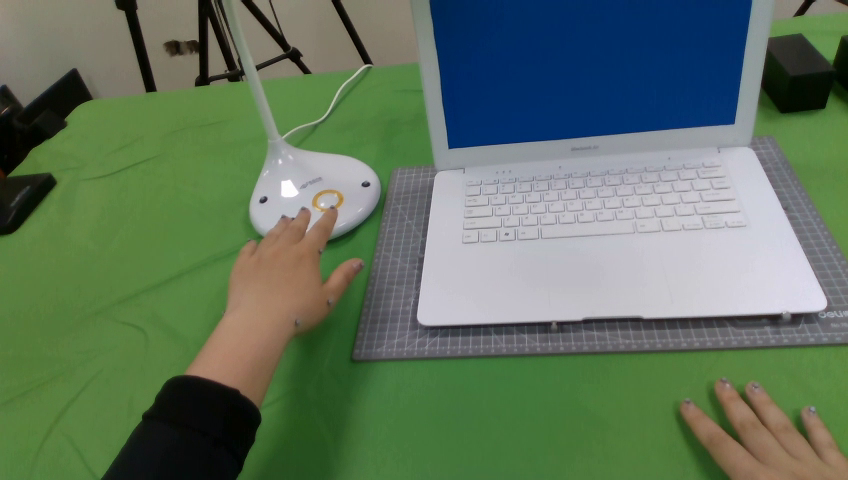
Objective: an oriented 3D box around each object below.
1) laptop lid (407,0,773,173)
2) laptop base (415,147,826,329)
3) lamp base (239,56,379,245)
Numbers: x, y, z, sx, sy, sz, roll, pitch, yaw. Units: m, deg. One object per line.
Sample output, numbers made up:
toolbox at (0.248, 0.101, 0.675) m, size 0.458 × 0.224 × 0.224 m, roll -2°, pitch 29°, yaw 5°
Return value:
laptop lid at (0.168, -0.184, 0.634) m, size 0.356 × 0.244 × 0.013 m, roll -5°, pitch 35°, yaw 10°
laptop base at (0.174, -0.006, 0.616) m, size 0.354 × 0.023 × 0.233 m, roll -4°, pitch 45°, yaw 10°
lamp base at (-0.155, -0.112, 0.689) m, size 0.177 × 0.182 × 0.160 m, roll 27°, pitch 54°, yaw 39°
